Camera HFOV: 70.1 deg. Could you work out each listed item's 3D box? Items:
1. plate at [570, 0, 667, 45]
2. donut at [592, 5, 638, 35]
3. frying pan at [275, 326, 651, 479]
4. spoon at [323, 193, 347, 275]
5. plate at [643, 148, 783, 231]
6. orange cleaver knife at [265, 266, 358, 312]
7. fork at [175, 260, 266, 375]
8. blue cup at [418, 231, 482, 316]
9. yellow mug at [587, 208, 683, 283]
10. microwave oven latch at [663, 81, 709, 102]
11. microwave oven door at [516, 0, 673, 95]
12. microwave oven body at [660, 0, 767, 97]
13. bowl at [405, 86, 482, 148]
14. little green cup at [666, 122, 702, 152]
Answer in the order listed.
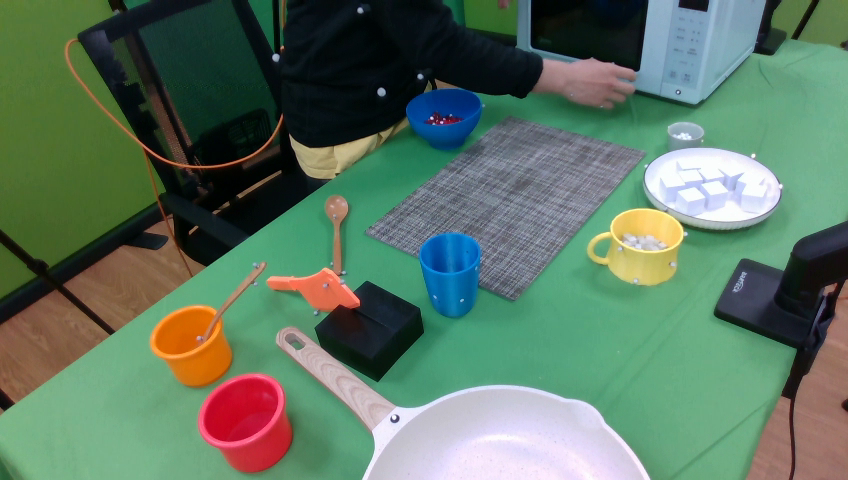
[{"bbox_3d":[0.436,-0.491,1.368,0.209,0.038,0.208,-6,40,5],"label":"plate"},{"bbox_3d":[0.427,-0.492,1.350,0.099,0.048,0.098,-8,39,7],"label":"donut"},{"bbox_3d":[0.004,0.229,0.641,0.484,0.103,0.308,34,54,28],"label":"frying pan"},{"bbox_3d":[-0.148,-0.014,1.008,0.042,0.022,0.192,0,40,-8],"label":"spoon"},{"bbox_3d":[0.464,-0.080,0.986,0.207,0.039,0.206,-4,41,4],"label":"plate"},{"bbox_3d":[-0.165,0.073,0.864,0.210,0.077,0.012,-6,31,50],"label":"orange cleaver knife"},{"bbox_3d":[-0.268,0.103,0.792,0.207,0.019,0.028,-51,41,16],"label":"fork"},{"bbox_3d":[0.040,0.053,0.843,0.092,0.100,0.092,-4,43,4],"label":"blue cup"},{"bbox_3d":[0.305,0.009,0.884,0.131,0.064,0.099,-4,41,5],"label":"yellow mug"},{"bbox_3d":[0.519,-0.299,1.202,0.078,0.029,0.030,30,54,36],"label":"microwave oven latch"},{"bbox_3d":[0.344,-0.458,1.256,0.353,0.245,0.039,26,51,33],"label":"microwave oven door"},{"bbox_3d":[0.473,-0.516,1.313,0.438,0.261,0.327,26,51,34],"label":"microwave oven body"},{"bbox_3d":[0.041,-0.236,1.197,0.151,0.077,0.150,-4,40,4],"label":"bowl"},{"bbox_3d":[0.472,-0.184,1.102,0.061,0.039,0.061,-5,40,4],"label":"little green cup"}]
